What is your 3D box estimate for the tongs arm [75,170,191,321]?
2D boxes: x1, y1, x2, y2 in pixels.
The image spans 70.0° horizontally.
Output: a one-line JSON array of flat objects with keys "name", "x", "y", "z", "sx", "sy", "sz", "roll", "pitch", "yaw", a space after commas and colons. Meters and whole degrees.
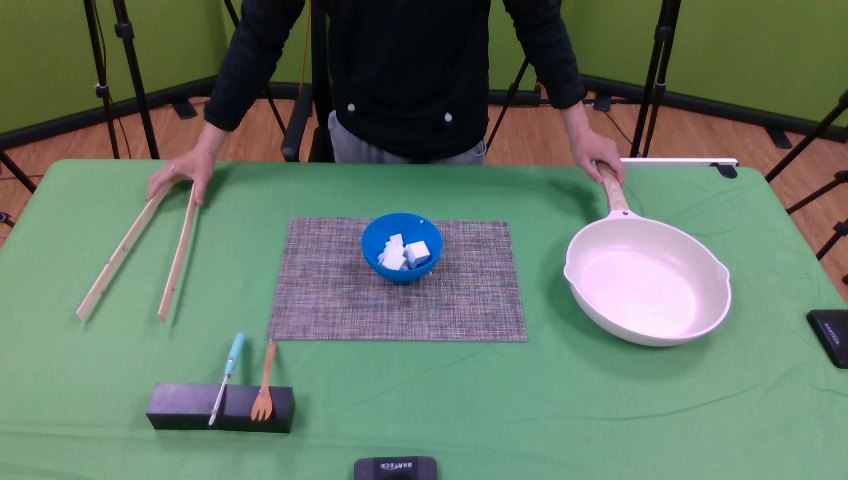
[{"name": "tongs arm", "x": -0.537, "y": -0.004, "z": 1.145, "sx": 0.051, "sy": 0.027, "sz": 0.382, "roll": 2, "pitch": 45, "yaw": 6}]

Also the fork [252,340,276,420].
[{"name": "fork", "x": -0.242, "y": 0.211, "z": 0.932, "sx": 0.028, "sy": 0.019, "sz": 0.206, "roll": -8, "pitch": 27, "yaw": -5}]

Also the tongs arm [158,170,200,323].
[{"name": "tongs arm", "x": -0.460, "y": -0.003, "z": 1.143, "sx": 0.028, "sy": 0.028, "sz": 0.385, "roll": -9, "pitch": 46, "yaw": 0}]

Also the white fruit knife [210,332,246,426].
[{"name": "white fruit knife", "x": -0.301, "y": 0.206, "z": 0.930, "sx": 0.016, "sy": 0.027, "sz": 0.206, "roll": 5, "pitch": 29, "yaw": -7}]

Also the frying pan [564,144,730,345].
[{"name": "frying pan", "x": 0.396, "y": -0.008, "z": 1.179, "sx": 0.307, "sy": 0.103, "sz": 0.484, "roll": 0, "pitch": 55, "yaw": -5}]

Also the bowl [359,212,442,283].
[{"name": "bowl", "x": -0.045, "y": 0.026, "z": 1.124, "sx": 0.151, "sy": 0.077, "sz": 0.150, "roll": 2, "pitch": 46, "yaw": -2}]
